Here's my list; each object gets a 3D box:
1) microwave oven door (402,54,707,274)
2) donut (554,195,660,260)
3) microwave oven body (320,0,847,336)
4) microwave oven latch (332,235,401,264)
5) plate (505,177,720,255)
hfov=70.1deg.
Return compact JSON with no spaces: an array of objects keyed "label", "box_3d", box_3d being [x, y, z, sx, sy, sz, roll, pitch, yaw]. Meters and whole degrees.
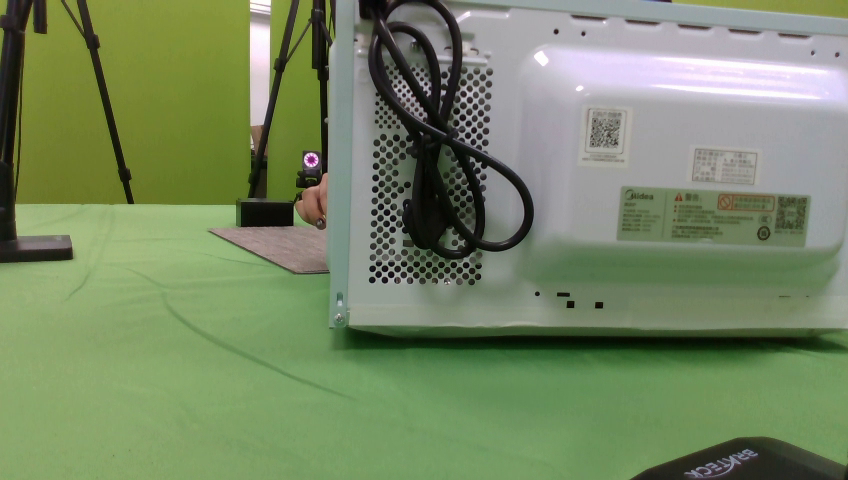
[{"label":"microwave oven door","box_3d":[0.156,-0.085,0.717,0.357,0.243,0.039,1,8,-8]},{"label":"donut","box_3d":[0.172,-0.014,0.574,0.099,0.048,0.099,-13,10,3]},{"label":"microwave oven body","box_3d":[0.133,-0.062,0.567,0.443,0.260,0.325,2,7,-8]},{"label":"microwave oven latch","box_3d":[-0.066,0.010,0.700,0.079,0.029,0.030,2,7,-7]},{"label":"plate","box_3d":[0.184,-0.025,0.615,0.209,0.038,0.209,5,16,-1]}]
